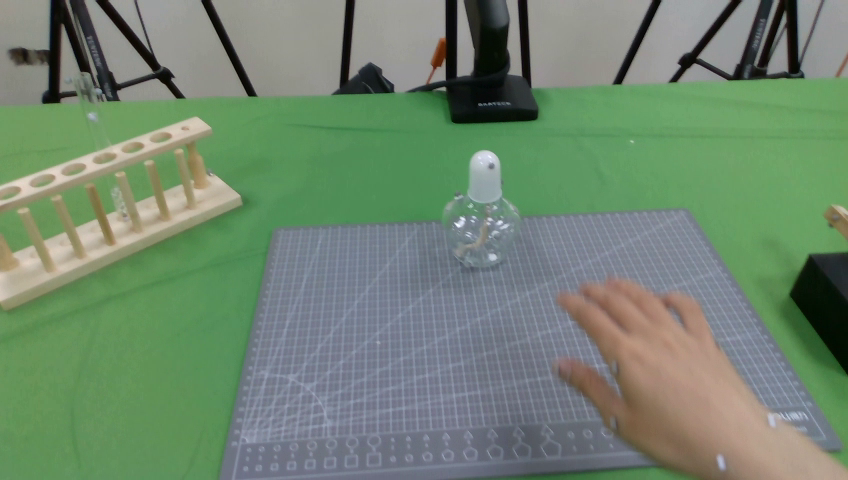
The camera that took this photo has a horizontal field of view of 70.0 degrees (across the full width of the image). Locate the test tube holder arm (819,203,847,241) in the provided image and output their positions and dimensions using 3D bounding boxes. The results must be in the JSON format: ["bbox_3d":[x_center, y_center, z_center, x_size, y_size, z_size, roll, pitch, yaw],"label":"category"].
[{"bbox_3d":[0.383,-0.002,0.537,0.010,0.015,0.087,0,40,-11],"label":"test tube holder arm"}]

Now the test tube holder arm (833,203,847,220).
[{"bbox_3d":[0.395,0.026,0.504,0.013,0.015,0.176,0,40,-12],"label":"test tube holder arm"}]

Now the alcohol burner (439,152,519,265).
[{"bbox_3d":[0.053,-0.035,0.575,0.078,0.120,0.077,1,41,0],"label":"alcohol burner"}]

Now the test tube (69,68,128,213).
[{"bbox_3d":[-0.315,-0.093,0.594,0.017,0.151,0.017,0,34,1],"label":"test tube"}]

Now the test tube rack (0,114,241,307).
[{"bbox_3d":[-0.316,-0.038,0.606,0.242,0.086,0.066,-30,48,-31],"label":"test tube rack"}]

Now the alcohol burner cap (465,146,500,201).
[{"bbox_3d":[0.054,-0.063,0.552,0.034,0.048,0.033,-1,44,2],"label":"alcohol burner cap"}]
